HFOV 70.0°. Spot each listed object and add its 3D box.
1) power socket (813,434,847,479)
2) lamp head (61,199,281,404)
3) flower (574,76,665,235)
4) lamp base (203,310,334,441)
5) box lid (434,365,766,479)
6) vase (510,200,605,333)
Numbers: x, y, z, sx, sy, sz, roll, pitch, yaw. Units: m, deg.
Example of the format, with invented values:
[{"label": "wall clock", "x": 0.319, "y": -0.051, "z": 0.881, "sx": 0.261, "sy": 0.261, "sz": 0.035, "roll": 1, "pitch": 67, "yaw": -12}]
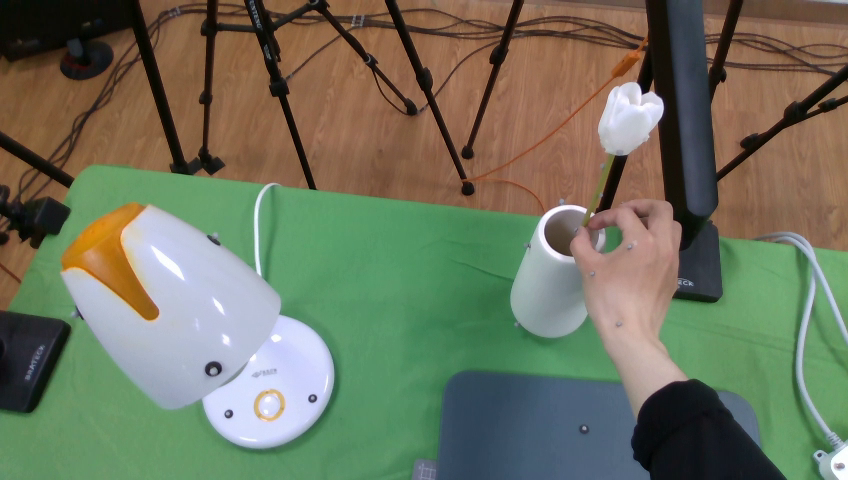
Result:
[{"label": "power socket", "x": 0.521, "y": 0.302, "z": 0.636, "sx": 0.072, "sy": 0.033, "sz": 0.224, "roll": -29, "pitch": 64, "yaw": -12}, {"label": "lamp head", "x": -0.178, "y": 0.030, "z": 0.415, "sx": 0.112, "sy": 0.124, "sz": 0.111, "roll": -29, "pitch": 24, "yaw": 15}, {"label": "flower", "x": 0.160, "y": -0.009, "z": 0.627, "sx": 0.044, "sy": 0.364, "sz": 0.038, "roll": 13, "pitch": 51, "yaw": 4}, {"label": "lamp base", "x": -0.199, "y": 0.119, "z": 0.682, "sx": 0.161, "sy": 0.182, "sz": 0.177, "roll": -21, "pitch": 60, "yaw": -8}, {"label": "box lid", "x": 0.196, "y": 0.279, "z": 0.675, "sx": 0.371, "sy": 0.015, "sz": 0.261, "roll": 3, "pitch": 62, "yaw": 5}, {"label": "vase", "x": 0.155, "y": 0.035, "z": 0.700, "sx": 0.098, "sy": 0.201, "sz": 0.097, "roll": -1, "pitch": 61, "yaw": 1}]
